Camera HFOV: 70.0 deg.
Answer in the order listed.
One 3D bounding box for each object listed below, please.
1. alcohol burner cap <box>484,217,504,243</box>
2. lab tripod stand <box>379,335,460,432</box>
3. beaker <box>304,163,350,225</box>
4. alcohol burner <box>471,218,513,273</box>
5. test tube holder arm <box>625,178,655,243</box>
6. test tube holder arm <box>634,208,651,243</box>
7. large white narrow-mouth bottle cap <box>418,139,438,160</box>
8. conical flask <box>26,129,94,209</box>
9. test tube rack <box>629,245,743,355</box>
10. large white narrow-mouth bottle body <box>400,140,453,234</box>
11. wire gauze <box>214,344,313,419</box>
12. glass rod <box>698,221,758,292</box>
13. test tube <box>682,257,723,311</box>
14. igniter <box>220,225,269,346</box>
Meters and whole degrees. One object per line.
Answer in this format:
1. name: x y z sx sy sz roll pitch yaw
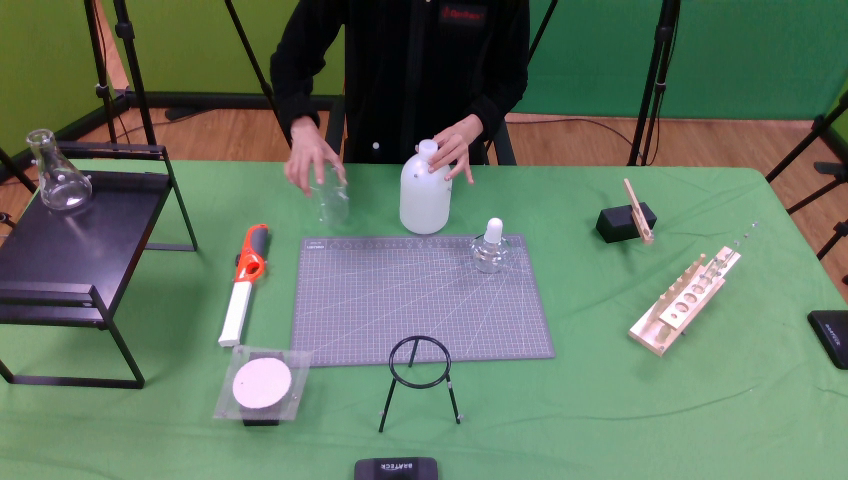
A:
1. alcohol burner cap: 0.129 -0.021 1.107 0.034 0.048 0.033 4 40 -3
2. lab tripod stand: -0.011 0.214 0.911 0.148 0.132 0.147 1 45 0
3. beaker: -0.178 -0.084 1.144 0.083 0.101 0.074 23 53 20
4. alcohol burner: 0.128 0.005 1.132 0.078 0.120 0.077 0 47 0
5. test tube holder arm: 0.433 -0.062 1.220 0.013 0.015 0.177 0 47 -3
6. test tube holder arm: 0.428 -0.030 1.189 0.010 0.015 0.087 1 47 -2
7. large white narrow-mouth bottle cap: 0.008 -0.167 1.120 0.038 0.024 0.037 2 46 -2
8. conical flask: -0.575 -0.113 0.946 0.075 0.122 0.075 2 46 -1
9. test tube rack: 0.474 0.095 1.091 0.242 0.085 0.066 -34 56 -31
10. large white narrow-mouth bottle body: 0.005 -0.109 1.182 0.102 0.195 0.101 2 46 -2
11. wire gauze: -0.241 0.213 0.915 0.121 0.011 0.124 5 46 1
12. glass rod: 0.527 0.035 1.059 0.008 0.200 0.008 5 49 -6
13. test tube: 0.475 0.080 1.038 0.017 0.151 0.017 1 51 -1
14. igniter: -0.323 0.072 1.100 0.057 0.025 0.275 -6 46 5
